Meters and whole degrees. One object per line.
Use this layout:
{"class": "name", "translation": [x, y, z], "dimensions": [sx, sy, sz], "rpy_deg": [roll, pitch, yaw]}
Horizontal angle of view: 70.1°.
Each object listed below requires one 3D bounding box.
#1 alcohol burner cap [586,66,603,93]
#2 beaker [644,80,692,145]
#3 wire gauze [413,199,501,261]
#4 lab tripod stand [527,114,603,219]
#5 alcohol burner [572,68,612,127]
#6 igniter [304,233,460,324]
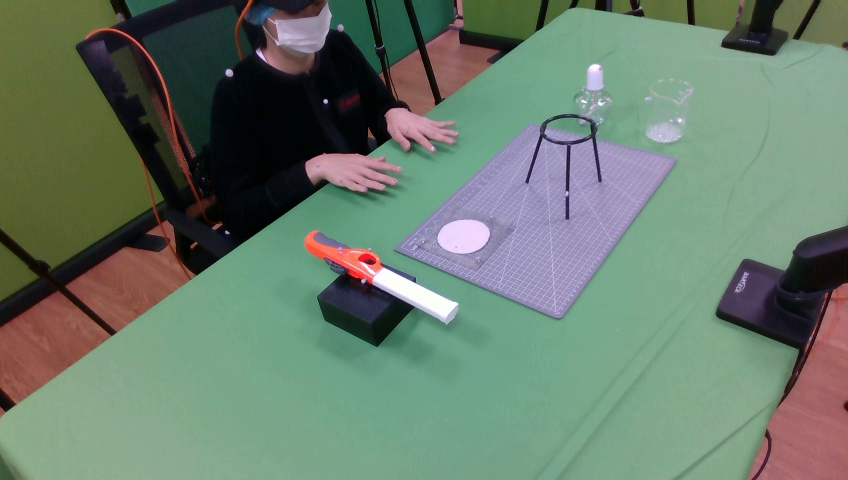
{"class": "alcohol burner cap", "translation": [0.330, -0.312, 1.170], "dimensions": [0.034, 0.048, 0.033], "rpy_deg": [-8, 38, 7]}
{"class": "beaker", "translation": [0.451, -0.233, 1.122], "dimensions": [0.074, 0.101, 0.083], "rpy_deg": [-8, 41, 1]}
{"class": "wire gauze", "translation": [0.054, -0.016, 0.970], "dimensions": [0.121, 0.011, 0.125], "rpy_deg": [7, 48, 14]}
{"class": "lab tripod stand", "translation": [0.234, -0.129, 1.002], "dimensions": [0.148, 0.132, 0.147], "rpy_deg": [-6, 40, 6]}
{"class": "alcohol burner", "translation": [0.333, -0.285, 1.192], "dimensions": [0.078, 0.119, 0.077], "rpy_deg": [-4, 42, 4]}
{"class": "igniter", "translation": [-0.070, 0.048, 0.853], "dimensions": [0.274, 0.025, 0.057], "rpy_deg": [24, 47, 29]}
